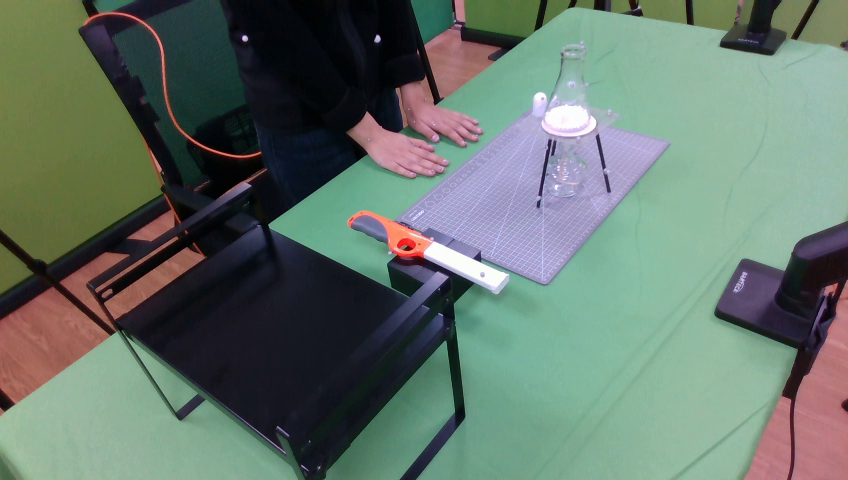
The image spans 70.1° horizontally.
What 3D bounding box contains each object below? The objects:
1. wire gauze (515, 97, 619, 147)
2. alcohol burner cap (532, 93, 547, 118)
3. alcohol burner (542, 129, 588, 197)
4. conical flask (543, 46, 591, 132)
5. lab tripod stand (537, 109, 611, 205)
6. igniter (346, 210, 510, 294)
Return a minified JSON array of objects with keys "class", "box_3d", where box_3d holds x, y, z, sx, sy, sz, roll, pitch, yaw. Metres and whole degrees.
[{"class":"wire gauze","box_3d":[0.229,-0.189,0.970,0.120,0.011,0.125,25,51,34]},{"class":"alcohol burner cap","box_3d":[0.240,-0.281,1.251,0.034,0.048,0.033,-4,42,4]},{"class":"alcohol burner","box_3d":[0.239,-0.133,1.021,0.078,0.119,0.077,-4,38,4]},{"class":"conical flask","box_3d":[0.224,-0.234,0.933,0.075,0.122,0.075,-3,41,3]},{"class":"lab tripod stand","box_3d":[0.244,-0.141,1.014,0.148,0.132,0.147,-3,39,3]},{"class":"igniter","box_3d":[-0.002,0.012,0.884,0.274,0.025,0.057,24,53,28]}]
